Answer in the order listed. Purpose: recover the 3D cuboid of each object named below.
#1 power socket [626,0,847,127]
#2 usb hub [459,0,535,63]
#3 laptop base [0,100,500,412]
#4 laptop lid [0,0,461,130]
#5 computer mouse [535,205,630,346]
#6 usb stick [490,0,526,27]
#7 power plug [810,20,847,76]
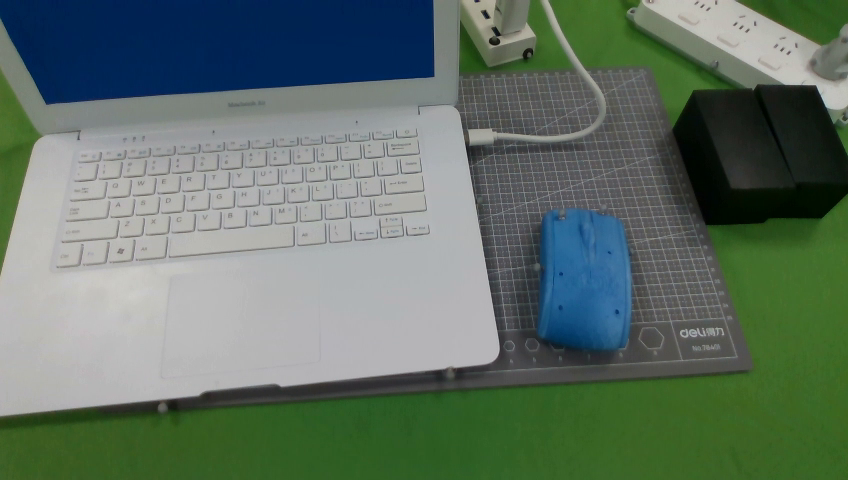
[{"bbox_3d":[0.301,-0.185,0.570,0.225,0.033,0.072,40,66,20],"label":"power socket"},{"bbox_3d":[0.059,-0.228,0.593,0.049,0.025,0.124,-18,62,-11],"label":"usb hub"},{"bbox_3d":[-0.134,-0.002,0.462,0.355,0.023,0.233,-5,63,-4],"label":"laptop base"},{"bbox_3d":[-0.148,-0.185,0.433,0.357,0.244,0.013,-6,47,-3],"label":"laptop lid"},{"bbox_3d":[0.115,0.020,0.440,0.063,0.041,0.116,7,55,6],"label":"computer mouse"},{"bbox_3d":[0.076,-0.214,0.548,0.027,0.059,0.021,-27,72,-9],"label":"usb stick"},{"bbox_3d":[0.375,-0.169,0.536,0.072,0.053,0.035,-32,64,-16],"label":"power plug"}]
